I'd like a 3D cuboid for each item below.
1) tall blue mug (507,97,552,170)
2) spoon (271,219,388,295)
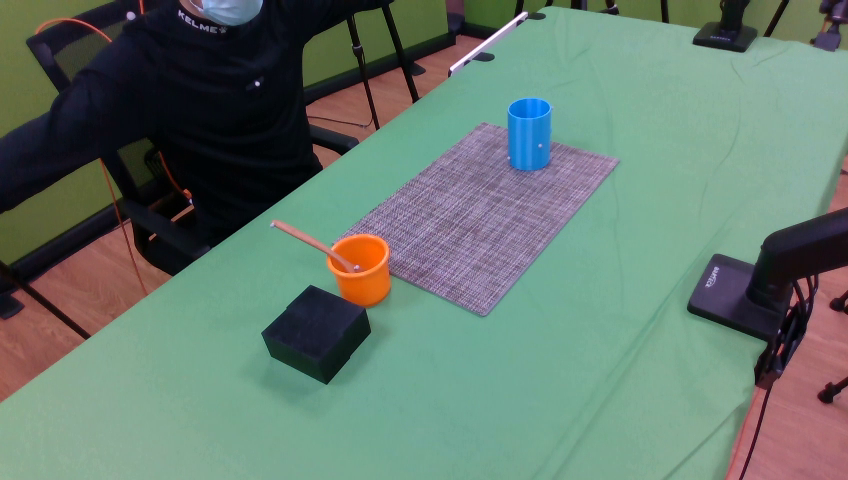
[{"bbox_3d":[0.179,-0.198,1.101,0.078,0.108,0.106,-36,49,-28],"label":"tall blue mug"},{"bbox_3d":[-0.133,0.022,0.865,0.021,0.195,0.041,-35,27,40],"label":"spoon"}]
